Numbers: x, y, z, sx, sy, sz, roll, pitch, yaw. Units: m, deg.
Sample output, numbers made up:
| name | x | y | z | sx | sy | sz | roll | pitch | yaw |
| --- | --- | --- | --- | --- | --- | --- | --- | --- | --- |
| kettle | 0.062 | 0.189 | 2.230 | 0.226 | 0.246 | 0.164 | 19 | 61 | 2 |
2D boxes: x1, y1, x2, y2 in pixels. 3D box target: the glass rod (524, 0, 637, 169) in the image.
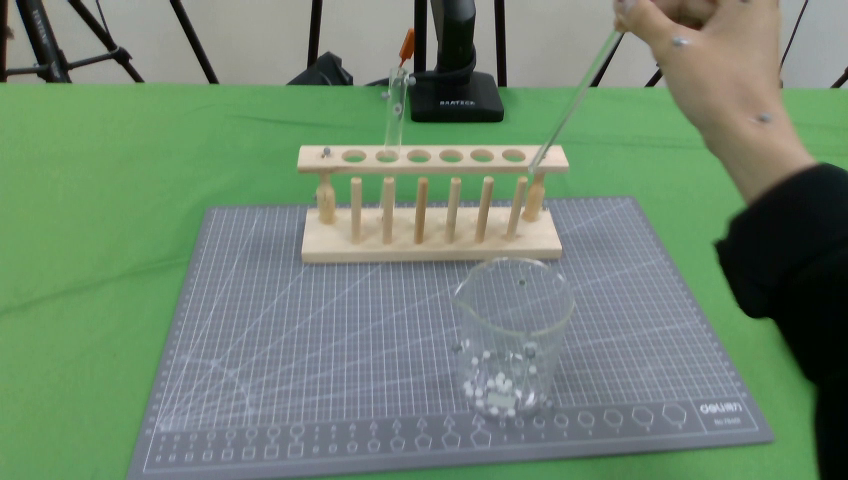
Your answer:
| name | x | y | z | sx | sy | sz | roll | pitch | yaw |
| --- | --- | --- | --- | --- | --- | --- | --- | --- | --- |
| glass rod | 0.113 | -0.123 | 0.385 | 0.008 | 0.200 | 0.008 | 17 | 39 | -14 |

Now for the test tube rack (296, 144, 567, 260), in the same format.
| name | x | y | z | sx | sy | sz | roll | pitch | yaw |
| --- | --- | --- | --- | --- | --- | --- | --- | --- | --- |
| test tube rack | 0.007 | -0.036 | 0.563 | 0.243 | 0.086 | 0.066 | -1 | 41 | -5 |

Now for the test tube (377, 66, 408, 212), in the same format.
| name | x | y | z | sx | sy | sz | roll | pitch | yaw |
| --- | --- | --- | --- | --- | --- | --- | --- | --- | --- |
| test tube | -0.029 | -0.083 | 0.538 | 0.017 | 0.151 | 0.017 | 5 | 42 | -4 |

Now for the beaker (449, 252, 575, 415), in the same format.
| name | x | y | z | sx | sy | sz | roll | pitch | yaw |
| --- | --- | --- | --- | --- | --- | --- | --- | --- | --- |
| beaker | 0.057 | 0.070 | 0.432 | 0.084 | 0.101 | 0.073 | 0 | 40 | -2 |
